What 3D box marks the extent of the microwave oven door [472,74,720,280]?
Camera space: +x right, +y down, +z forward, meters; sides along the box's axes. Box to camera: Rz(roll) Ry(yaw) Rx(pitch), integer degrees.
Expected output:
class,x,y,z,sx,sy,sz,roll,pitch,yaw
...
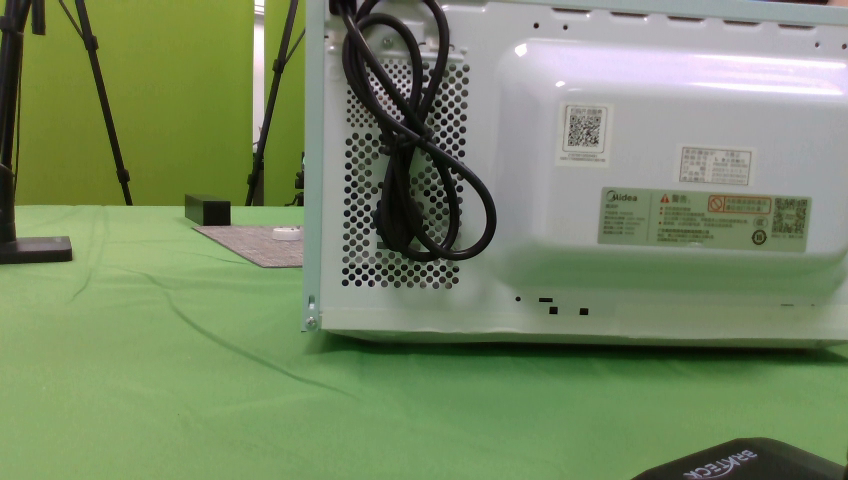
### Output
class,x,y,z,sx,sy,sz,roll,pitch,yaw
microwave oven door,0.211,-0.092,0.834,0.039,0.243,0.354,-5,10,-42

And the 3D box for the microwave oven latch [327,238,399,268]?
class,x,y,z,sx,sy,sz,roll,pitch,yaw
microwave oven latch,-0.069,0.015,0.694,0.079,0.029,0.030,3,7,-3

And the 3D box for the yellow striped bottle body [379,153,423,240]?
class,x,y,z,sx,sy,sz,roll,pitch,yaw
yellow striped bottle body,-0.033,-0.062,0.863,0.063,0.120,0.063,1,5,0

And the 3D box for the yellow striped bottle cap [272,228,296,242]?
class,x,y,z,sx,sy,sz,roll,pitch,yaw
yellow striped bottle cap,-0.232,-0.008,1.012,0.044,0.018,0.044,4,8,0

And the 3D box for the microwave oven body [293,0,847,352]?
class,x,y,z,sx,sy,sz,roll,pitch,yaw
microwave oven body,0.122,-0.055,0.551,0.442,0.260,0.325,3,7,-5
